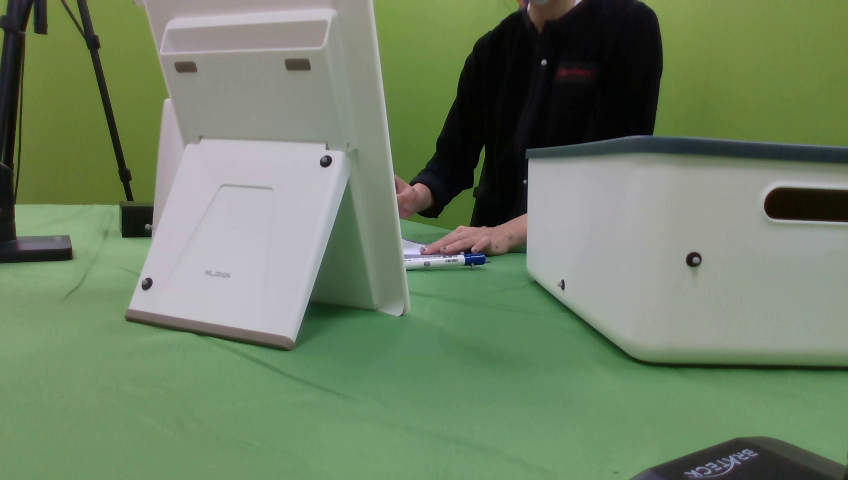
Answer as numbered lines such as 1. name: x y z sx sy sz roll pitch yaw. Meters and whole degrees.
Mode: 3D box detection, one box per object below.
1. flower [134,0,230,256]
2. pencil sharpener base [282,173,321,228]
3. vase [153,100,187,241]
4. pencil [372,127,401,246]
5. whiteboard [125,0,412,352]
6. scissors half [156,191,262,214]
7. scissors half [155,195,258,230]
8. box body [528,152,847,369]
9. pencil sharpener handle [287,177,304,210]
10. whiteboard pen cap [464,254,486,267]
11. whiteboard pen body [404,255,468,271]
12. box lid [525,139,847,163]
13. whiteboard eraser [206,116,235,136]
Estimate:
1. flower: -0.282 -0.147 0.713 0.038 0.362 0.044 -23 24 -31
2. pencil sharpener base: -0.247 -0.080 1.212 0.061 0.107 0.076 -2 5 -28
3. vase: -0.278 -0.066 0.736 0.098 0.200 0.098 2 9 0
4. pencil: -0.057 -0.084 0.959 0.012 0.194 0.012 -12 6 1
5. whiteboard: -0.151 -0.049 0.472 0.216 0.305 0.144 6 27 24
6. scissors half: -0.371 -0.069 1.051 0.176 0.040 0.013 1 26 -24
7. scissors half: -0.378 -0.051 1.059 0.176 0.040 0.012 20 22 -31
8. box body: 0.258 -0.005 0.591 0.254 0.160 0.363 2 7 -4
9. pencil sharpener handle: -0.269 -0.096 1.257 0.036 0.067 0.030 -8 8 -27
10. whiteboard pen cap: 0.066 0.027 0.818 0.033 0.018 0.018 -5 10 -24
11. whiteboard pen body: 0.013 0.030 0.792 0.141 0.017 0.017 -3 9 -24
12. box lid: 0.261 -0.078 0.580 0.264 0.015 0.371 2 7 -4
13. whiteboard eraser: -0.450 -0.252 1.335 0.056 0.042 0.112 1 7 -22
